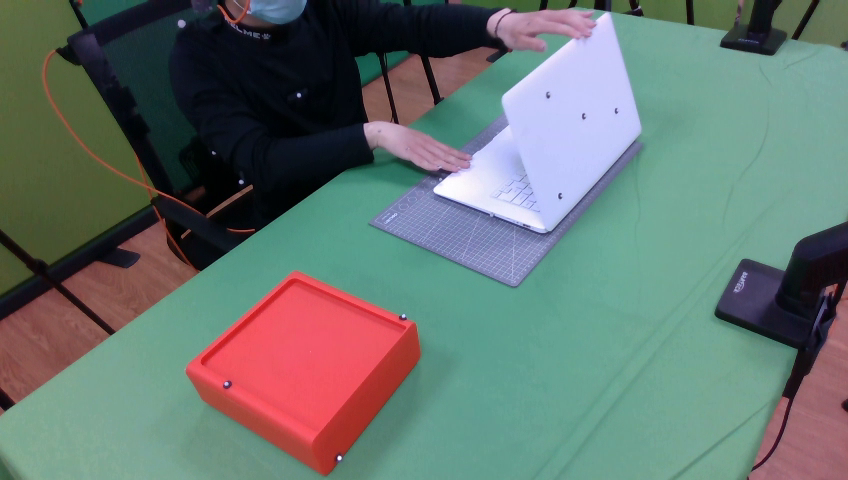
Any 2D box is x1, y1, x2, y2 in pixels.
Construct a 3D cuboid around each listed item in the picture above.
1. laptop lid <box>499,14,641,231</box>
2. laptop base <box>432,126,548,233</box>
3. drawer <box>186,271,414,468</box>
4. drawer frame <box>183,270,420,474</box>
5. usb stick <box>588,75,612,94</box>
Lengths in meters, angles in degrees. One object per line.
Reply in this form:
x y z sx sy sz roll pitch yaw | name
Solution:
0.258 -0.204 0.997 0.013 0.243 0.358 2 34 46 | laptop lid
0.210 -0.142 1.111 0.233 0.023 0.355 21 47 33 | laptop base
-0.150 0.153 0.768 0.210 0.073 0.195 20 46 28 | drawer
-0.149 0.153 0.767 0.212 0.083 0.202 20 46 27 | drawer frame
0.382 -0.333 1.303 0.021 0.027 0.058 -26 46 -22 | usb stick
